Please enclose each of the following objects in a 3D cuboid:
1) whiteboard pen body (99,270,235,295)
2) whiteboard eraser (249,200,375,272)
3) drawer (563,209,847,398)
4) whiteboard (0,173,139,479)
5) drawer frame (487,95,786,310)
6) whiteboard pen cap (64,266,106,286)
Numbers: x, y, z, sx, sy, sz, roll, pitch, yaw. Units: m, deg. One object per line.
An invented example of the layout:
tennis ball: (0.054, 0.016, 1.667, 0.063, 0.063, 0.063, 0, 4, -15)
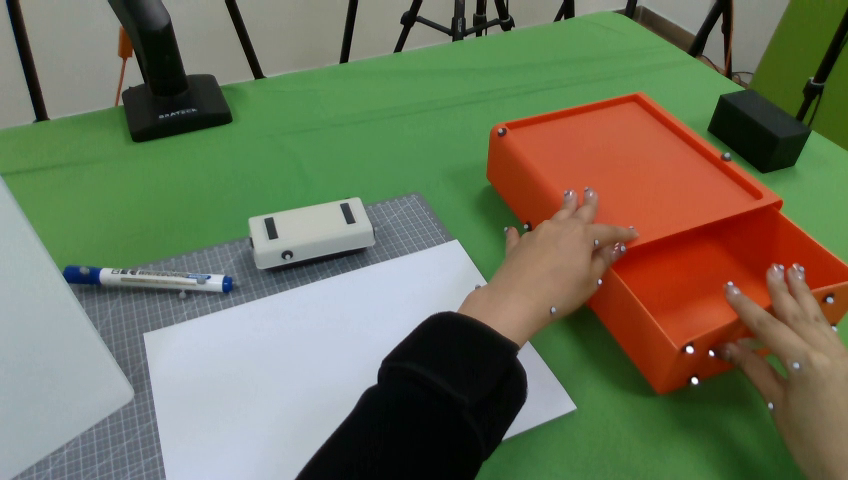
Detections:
whiteboard pen body: (-0.244, 0.038, 0.549, 0.141, 0.017, 0.017, 4, 42, -2)
whiteboard eraser: (-0.108, -0.002, 0.583, 0.113, 0.042, 0.055, -13, 43, -15)
drawer: (0.237, 0.018, 0.551, 0.195, 0.074, 0.209, -15, 44, -16)
whiteboard: (-0.375, 0.032, 0.389, 0.217, 0.308, 0.142, -34, 34, -31)
drawer frame: (0.200, -0.048, 0.617, 0.202, 0.083, 0.211, -16, 45, -17)
whiteboard pen cap: (-0.304, 0.033, 0.547, 0.033, 0.018, 0.018, 3, 42, -5)
